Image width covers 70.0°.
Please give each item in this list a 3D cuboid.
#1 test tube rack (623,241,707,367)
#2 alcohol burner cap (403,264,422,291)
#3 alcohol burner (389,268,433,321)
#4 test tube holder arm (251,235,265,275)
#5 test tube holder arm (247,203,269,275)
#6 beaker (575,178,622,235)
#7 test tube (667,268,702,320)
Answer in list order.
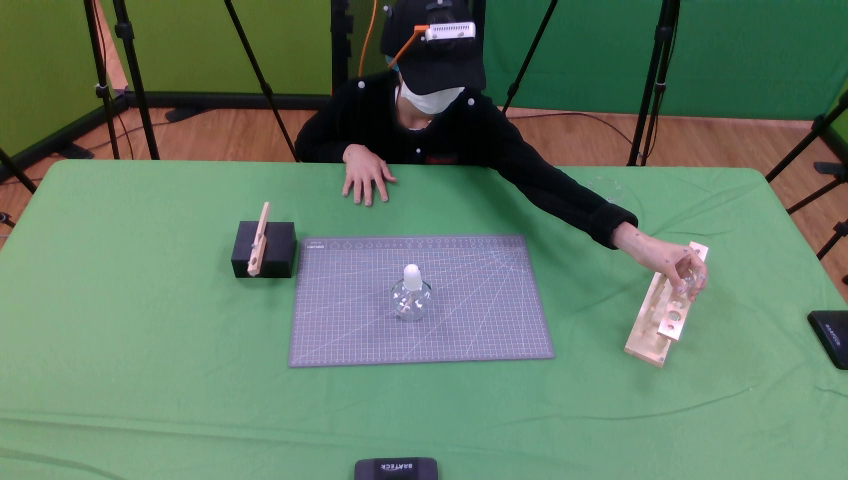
[{"bbox_3d":[0.435,0.104,1.089,0.066,0.085,0.242,24,49,19],"label":"test tube rack"},{"bbox_3d":[-0.021,0.060,1.021,0.034,0.048,0.033,-1,46,2],"label":"alcohol burner cap"},{"bbox_3d":[-0.022,0.086,1.046,0.078,0.119,0.077,2,48,-2],"label":"alcohol burner"},{"bbox_3d":[-0.297,0.026,1.085,0.010,0.015,0.087,-5,45,2],"label":"test tube holder arm"},{"bbox_3d":[-0.304,-0.006,1.116,0.013,0.015,0.177,-5,45,2],"label":"test tube holder arm"},{"bbox_3d":[0.357,-0.068,1.239,0.084,0.101,0.073,-19,50,-22],"label":"beaker"},{"bbox_3d":[0.432,0.101,1.020,0.017,0.151,0.017,2,45,-2],"label":"test tube"}]
